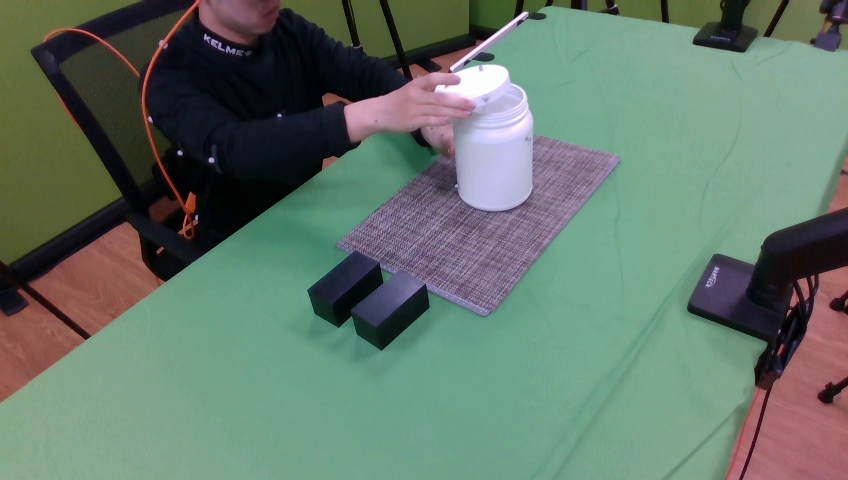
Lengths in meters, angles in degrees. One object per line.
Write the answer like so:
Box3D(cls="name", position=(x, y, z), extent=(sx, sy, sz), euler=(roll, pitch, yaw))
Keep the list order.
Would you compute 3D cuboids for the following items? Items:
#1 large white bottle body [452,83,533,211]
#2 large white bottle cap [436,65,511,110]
Box3D(cls="large white bottle body", position=(0.115, -0.155, 1.001), extent=(0.130, 0.185, 0.130), euler=(-4, 41, 4))
Box3D(cls="large white bottle cap", position=(0.074, -0.231, 0.910), extent=(0.114, 0.018, 0.114), euler=(-12, 36, 9))
